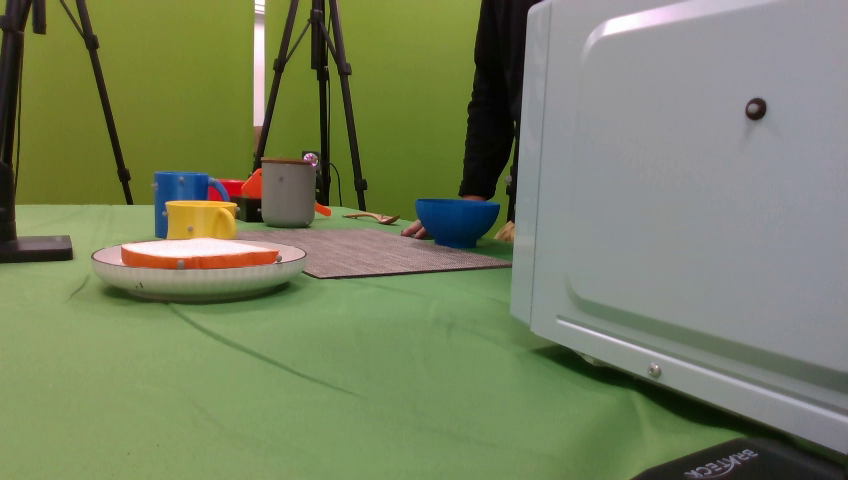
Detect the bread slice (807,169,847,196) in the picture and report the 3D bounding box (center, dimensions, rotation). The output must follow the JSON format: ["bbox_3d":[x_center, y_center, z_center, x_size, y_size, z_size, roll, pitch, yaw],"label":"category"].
[{"bbox_3d":[0.365,-0.051,0.453,0.135,0.018,0.106,-9,1,-23],"label":"bread slice"}]

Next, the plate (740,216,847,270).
[{"bbox_3d":[0.358,0.001,0.464,0.209,0.038,0.209,1,4,0],"label":"plate"}]

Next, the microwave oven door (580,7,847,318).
[{"bbox_3d":[0.294,-0.067,0.570,0.358,0.243,0.039,-3,9,-31],"label":"microwave oven door"}]

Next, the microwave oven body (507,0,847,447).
[{"bbox_3d":[0.331,-0.042,0.425,0.444,0.260,0.324,-2,8,-31],"label":"microwave oven body"}]

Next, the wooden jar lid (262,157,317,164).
[{"bbox_3d":[-0.269,-0.154,1.208,0.108,0.020,0.108,3,4,0],"label":"wooden jar lid"}]

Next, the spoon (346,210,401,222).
[{"bbox_3d":[-0.121,-0.060,1.400,0.042,0.021,0.192,-26,24,-38],"label":"spoon"}]

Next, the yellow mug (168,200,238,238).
[{"bbox_3d":[-0.319,-0.023,0.904,0.130,0.064,0.100,9,11,36],"label":"yellow mug"}]

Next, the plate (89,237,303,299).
[{"bbox_3d":[-0.233,0.029,0.636,0.208,0.039,0.207,2,7,0],"label":"plate"}]

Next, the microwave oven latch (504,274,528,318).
[{"bbox_3d":[0.100,0.041,0.471,0.079,0.029,0.030,-1,7,-27],"label":"microwave oven latch"}]

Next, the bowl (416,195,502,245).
[{"bbox_3d":[0.059,-0.035,1.049,0.151,0.077,0.151,2,7,0],"label":"bowl"}]

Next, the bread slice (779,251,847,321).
[{"bbox_3d":[0.370,0.026,0.478,0.132,0.019,0.104,-24,10,-7],"label":"bread slice"}]

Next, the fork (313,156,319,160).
[{"bbox_3d":[-0.331,-0.144,1.506,0.207,0.018,0.028,-42,-19,22],"label":"fork"}]

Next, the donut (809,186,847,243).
[{"bbox_3d":[0.351,-0.023,0.463,0.099,0.048,0.099,-10,5,1],"label":"donut"}]

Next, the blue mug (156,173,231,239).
[{"bbox_3d":[-0.381,-0.057,1.004,0.117,0.106,0.082,1,8,-12],"label":"blue mug"}]

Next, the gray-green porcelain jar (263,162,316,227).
[{"bbox_3d":[-0.271,-0.092,1.217,0.106,0.126,0.106,2,7,0],"label":"gray-green porcelain jar"}]

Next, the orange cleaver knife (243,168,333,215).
[{"bbox_3d":[-0.300,-0.089,1.351,0.212,0.077,0.012,28,-9,-34],"label":"orange cleaver knife"}]
